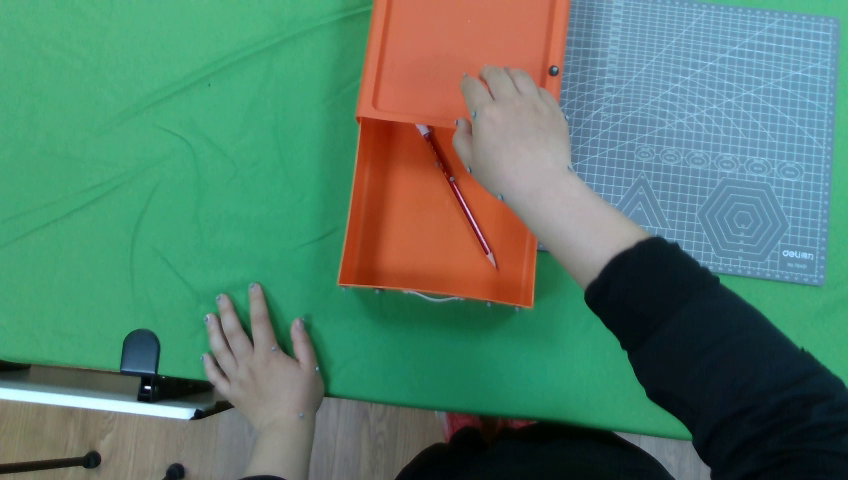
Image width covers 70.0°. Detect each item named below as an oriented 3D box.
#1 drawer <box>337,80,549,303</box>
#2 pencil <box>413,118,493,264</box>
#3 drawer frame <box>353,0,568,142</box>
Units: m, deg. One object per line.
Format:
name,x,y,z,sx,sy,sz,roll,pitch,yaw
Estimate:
drawer,0.024,-0.047,0.625,0.194,0.073,0.211,6,87,4
pencil,0.030,-0.061,0.652,0.012,0.012,0.193,-26,86,-1
drawer frame,0.042,-0.210,0.637,0.201,0.083,0.213,7,84,3
